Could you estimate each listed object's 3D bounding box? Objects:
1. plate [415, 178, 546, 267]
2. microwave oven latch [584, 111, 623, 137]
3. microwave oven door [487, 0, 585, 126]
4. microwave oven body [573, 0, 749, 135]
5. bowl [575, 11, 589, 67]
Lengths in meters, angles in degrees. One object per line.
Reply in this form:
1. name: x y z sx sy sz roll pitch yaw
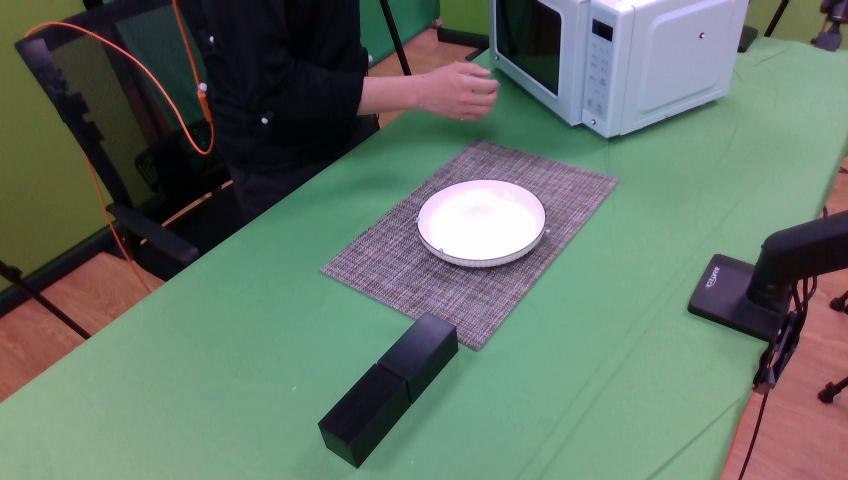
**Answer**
1. plate: 0.091 -0.026 0.970 0.207 0.039 0.206 -4 41 4
2. microwave oven latch: 0.337 -0.222 1.142 0.030 0.029 0.078 -21 42 -14
3. microwave oven door: 0.222 -0.416 1.228 0.039 0.245 0.352 -19 42 -13
4. microwave oven body: 0.382 -0.444 1.246 0.327 0.261 0.437 -22 42 -16
5. bowl: 0.343 -0.418 1.278 0.151 0.077 0.150 -1 41 1
